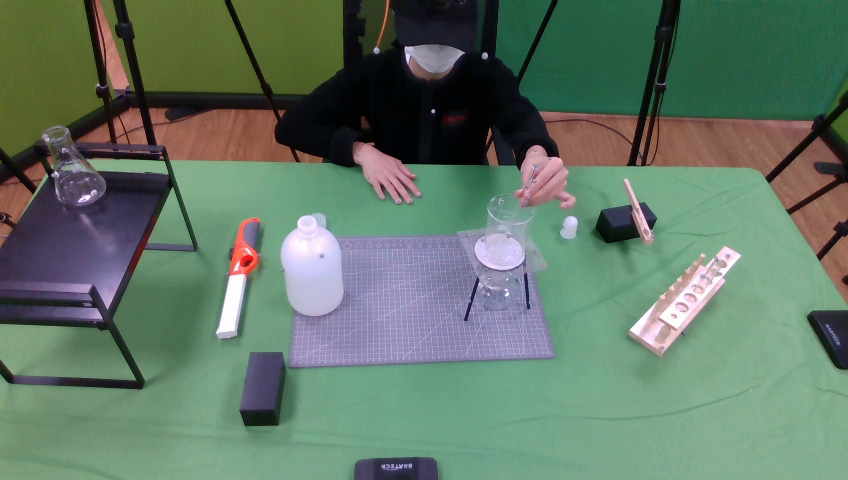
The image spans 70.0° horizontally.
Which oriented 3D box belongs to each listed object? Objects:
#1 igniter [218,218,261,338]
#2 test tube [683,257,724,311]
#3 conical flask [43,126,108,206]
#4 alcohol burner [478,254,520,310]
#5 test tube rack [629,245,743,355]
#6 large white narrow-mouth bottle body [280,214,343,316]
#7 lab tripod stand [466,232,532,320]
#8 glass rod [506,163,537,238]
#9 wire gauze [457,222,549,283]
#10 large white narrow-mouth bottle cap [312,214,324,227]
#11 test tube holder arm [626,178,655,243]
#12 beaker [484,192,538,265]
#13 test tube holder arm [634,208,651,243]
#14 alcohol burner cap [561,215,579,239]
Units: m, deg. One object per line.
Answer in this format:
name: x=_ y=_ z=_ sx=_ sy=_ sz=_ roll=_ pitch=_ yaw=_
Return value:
igniter: x=-0.336 y=0.060 z=1.111 sx=0.057 sy=0.025 sz=0.274 roll=-8 pitch=46 yaw=4
test tube: x=0.476 y=0.080 z=1.037 sx=0.017 sy=0.151 sz=0.017 roll=1 pitch=50 yaw=-1
conical flask: x=-0.555 y=-0.119 z=0.953 sx=0.075 sy=0.122 sz=0.075 roll=2 pitch=46 yaw=-2
alcohol burner: x=0.134 y=0.068 z=1.071 sx=0.078 sy=0.120 sz=0.077 roll=0 pitch=47 yaw=0
test tube rack: x=0.474 y=0.095 z=1.091 sx=0.242 sy=0.085 sz=0.066 roll=-34 pitch=56 yaw=-31
large white narrow-mouth bottle body: x=-0.190 y=0.035 z=1.025 sx=0.102 sy=0.195 sz=0.101 roll=2 pitch=46 yaw=-2
lab tripod stand: x=0.125 y=0.059 z=1.065 sx=0.148 sy=0.132 sz=0.147 roll=1 pitch=45 yaw=0
glass rod: x=0.150 y=-0.056 z=0.939 sx=0.008 sy=0.200 sz=0.008 roll=2 pitch=59 yaw=-4
wire gauze: x=0.131 y=0.016 z=1.017 sx=0.121 sy=0.011 sz=0.124 roll=-10 pitch=44 yaw=-15
large white narrow-mouth bottle cap: x=-0.219 y=-0.033 z=1.214 sx=0.038 sy=0.024 sz=0.037 roll=2 pitch=46 yaw=-2
test tube holder arm: x=0.434 y=-0.063 z=1.220 sx=0.013 sy=0.015 sz=0.177 roll=3 pitch=47 yaw=-4
beaker: x=0.137 y=-0.016 z=0.980 sx=0.084 sy=0.101 sz=0.073 roll=-7 pitch=45 yaw=-9
test tube holder arm: x=0.428 y=-0.030 z=1.189 sx=0.010 sy=0.015 sz=0.087 roll=3 pitch=47 yaw=-3
alcohol burner cap: x=0.299 y=-0.030 z=1.231 sx=0.034 sy=0.048 sz=0.033 roll=1 pitch=46 yaw=0
